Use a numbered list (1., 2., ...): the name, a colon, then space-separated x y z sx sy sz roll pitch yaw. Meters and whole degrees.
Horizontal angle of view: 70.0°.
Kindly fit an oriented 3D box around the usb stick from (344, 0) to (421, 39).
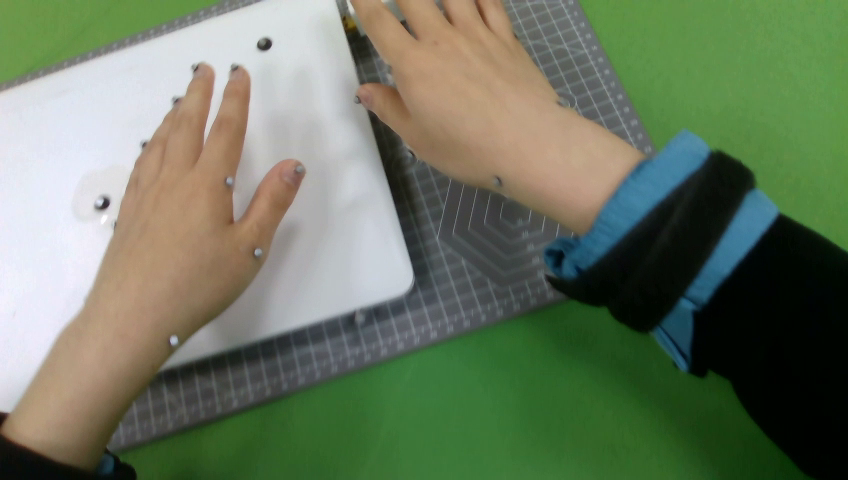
1. usb stick: -0.033 -0.154 0.405 0.059 0.027 0.021 -19 69 8

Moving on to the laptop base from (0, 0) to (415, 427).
1. laptop base: -0.199 -0.018 0.398 0.354 0.023 0.234 -18 71 3

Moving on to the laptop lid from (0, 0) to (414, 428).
1. laptop lid: -0.200 -0.020 0.387 0.356 0.013 0.240 -16 71 4
